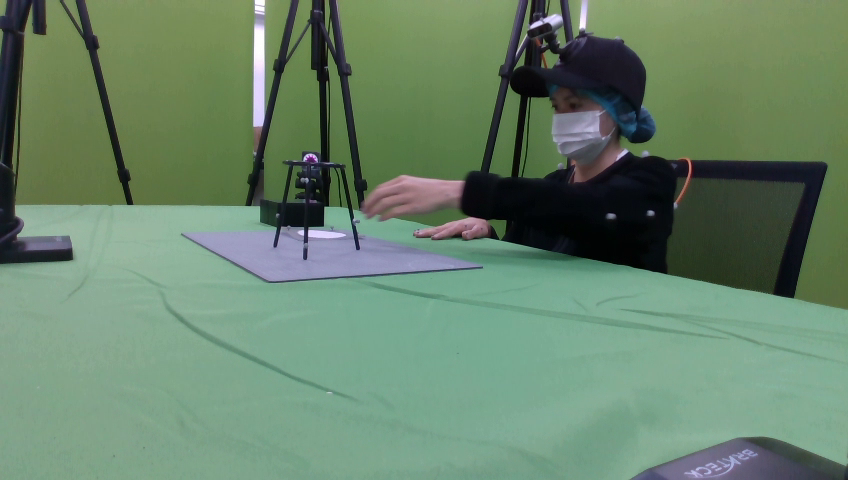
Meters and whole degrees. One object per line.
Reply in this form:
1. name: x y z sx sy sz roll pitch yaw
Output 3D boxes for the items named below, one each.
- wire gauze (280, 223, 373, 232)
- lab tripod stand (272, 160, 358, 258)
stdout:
1. wire gauze: -0.173 -0.025 1.072 0.121 0.011 0.126 6 1 38
2. lab tripod stand: -0.159 -0.048 0.876 0.148 0.131 0.148 3 5 0
